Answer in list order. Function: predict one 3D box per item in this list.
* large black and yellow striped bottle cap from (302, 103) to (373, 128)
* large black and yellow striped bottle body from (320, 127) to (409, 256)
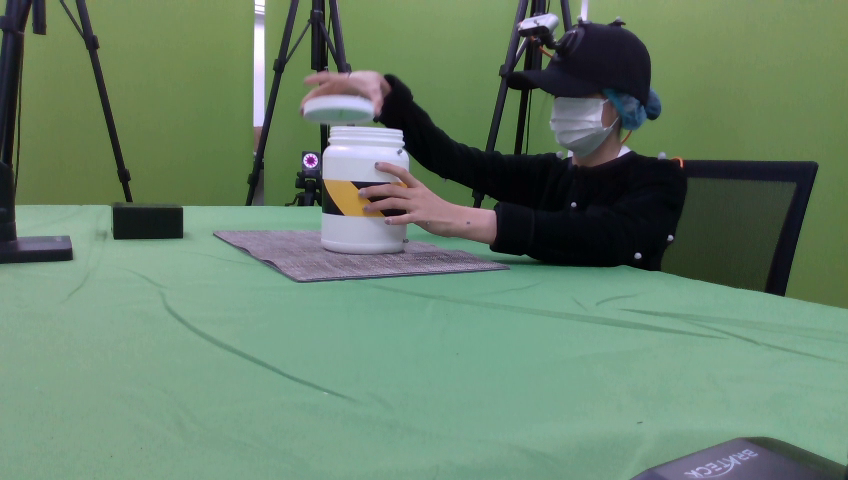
[{"bbox_3d":[-0.142,-0.204,0.996,0.115,0.019,0.115,-2,-2,0],"label":"large black and yellow striped bottle cap"},{"bbox_3d":[-0.089,-0.075,0.911,0.131,0.184,0.130,3,7,0],"label":"large black and yellow striped bottle body"}]
